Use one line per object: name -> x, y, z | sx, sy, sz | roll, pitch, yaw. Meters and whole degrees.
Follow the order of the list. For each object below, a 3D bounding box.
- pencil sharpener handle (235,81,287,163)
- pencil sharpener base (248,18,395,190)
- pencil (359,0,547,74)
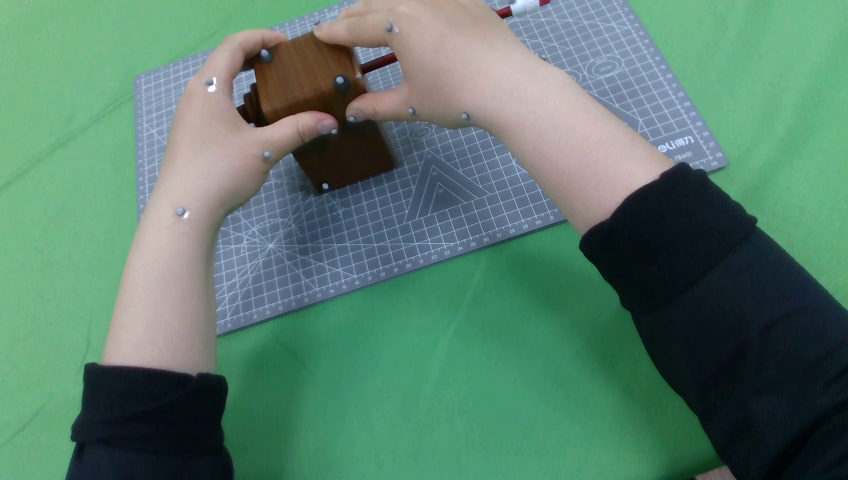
pencil sharpener handle -> -0.125, -0.082, 0.443 | 0.030, 0.068, 0.035 | -21, 58, 2
pencil sharpener base -> -0.075, -0.096, 0.452 | 0.077, 0.108, 0.061 | -21, 61, 2
pencil -> -0.004, -0.136, 0.424 | 0.194, 0.012, 0.012 | -22, 61, 3
